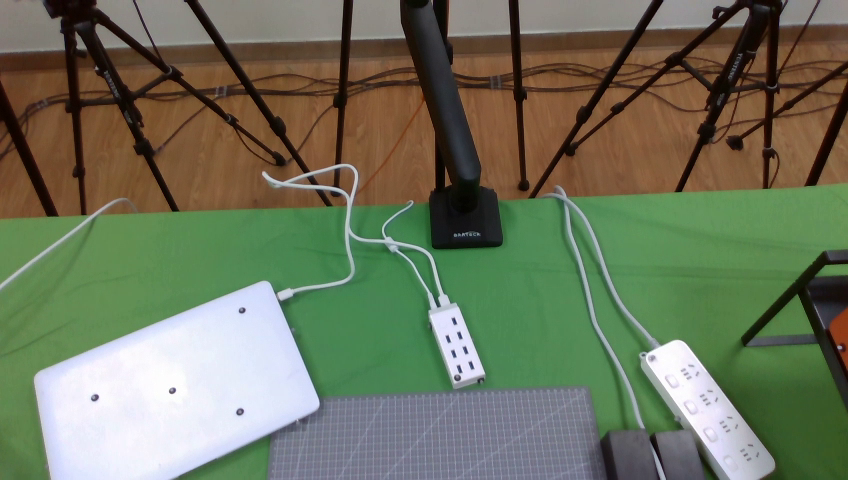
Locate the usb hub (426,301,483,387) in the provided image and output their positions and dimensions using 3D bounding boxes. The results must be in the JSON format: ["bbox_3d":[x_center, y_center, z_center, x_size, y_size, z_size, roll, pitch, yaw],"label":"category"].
[{"bbox_3d":[0.044,0.153,0.902,0.049,0.025,0.124,-15,57,-9],"label":"usb hub"}]

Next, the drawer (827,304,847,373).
[{"bbox_3d":[0.585,0.157,0.650,0.212,0.074,0.192,-2,56,-2],"label":"drawer"}]

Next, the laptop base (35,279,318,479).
[{"bbox_3d":[-0.354,0.214,0.866,0.355,0.023,0.233,-23,62,-14],"label":"laptop base"}]

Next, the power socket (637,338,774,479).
[{"bbox_3d":[0.386,0.236,0.842,0.072,0.033,0.224,-21,58,-14],"label":"power socket"}]

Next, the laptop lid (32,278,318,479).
[{"bbox_3d":[-0.353,0.209,0.854,0.357,0.013,0.239,-22,61,-14],"label":"laptop lid"}]

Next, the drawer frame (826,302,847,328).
[{"bbox_3d":[0.589,0.155,0.650,0.214,0.083,0.199,-2,56,-2],"label":"drawer frame"}]
